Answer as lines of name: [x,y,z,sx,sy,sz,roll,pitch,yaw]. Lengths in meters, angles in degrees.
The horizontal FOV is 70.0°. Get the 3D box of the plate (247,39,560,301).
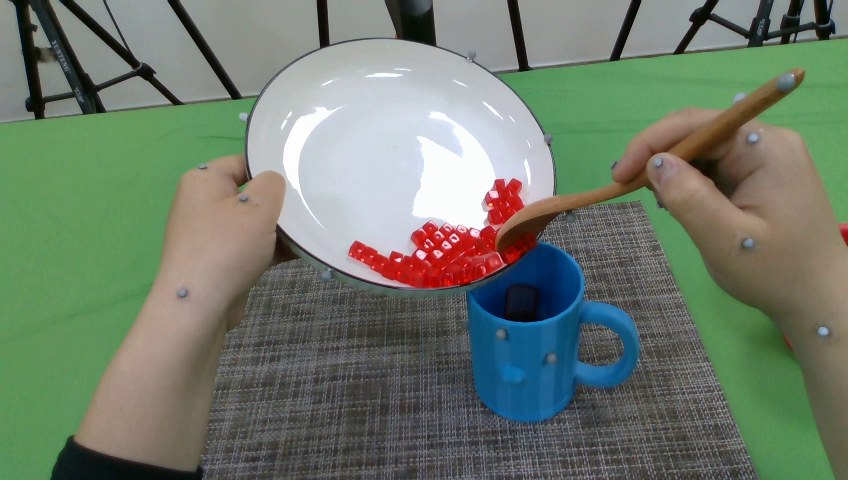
plate: [-0.012,-0.050,0.413,0.208,0.039,0.206,6,60,-10]

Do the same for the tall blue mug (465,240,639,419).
tall blue mug: [0.085,0.061,0.422,0.107,0.109,0.077,-10,42,-1]

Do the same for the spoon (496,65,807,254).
spoon: [0.098,-0.030,0.305,0.042,0.193,0.021,-12,80,-34]
